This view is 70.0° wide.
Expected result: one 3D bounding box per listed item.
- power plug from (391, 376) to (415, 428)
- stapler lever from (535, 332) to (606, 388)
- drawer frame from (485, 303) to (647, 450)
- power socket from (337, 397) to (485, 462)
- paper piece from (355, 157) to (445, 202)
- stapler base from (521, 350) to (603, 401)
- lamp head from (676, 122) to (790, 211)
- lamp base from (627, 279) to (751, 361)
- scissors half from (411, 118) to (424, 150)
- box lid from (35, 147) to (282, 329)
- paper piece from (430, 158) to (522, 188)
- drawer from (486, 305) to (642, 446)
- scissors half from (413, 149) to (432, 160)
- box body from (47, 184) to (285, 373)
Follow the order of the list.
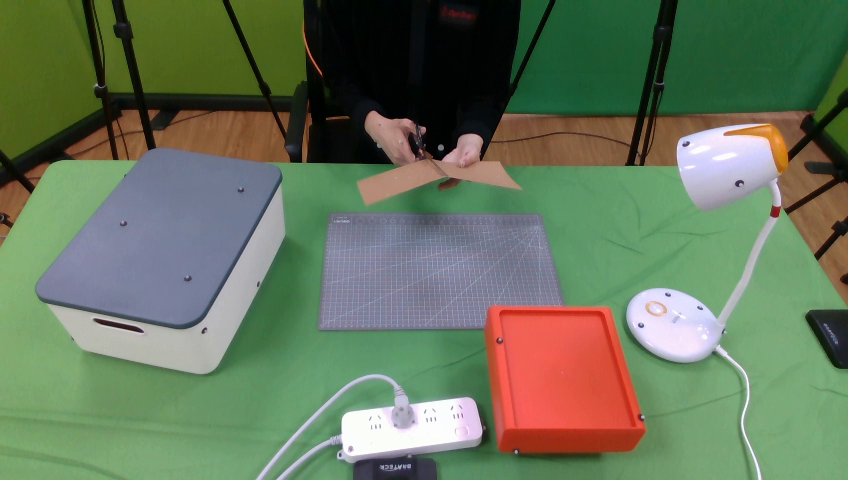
[{"bbox_3d":[-0.031,0.249,0.917,0.035,0.053,0.072,3,46,-1],"label":"power plug"},{"bbox_3d":[0.225,0.182,0.929,0.118,0.040,0.027,27,34,15],"label":"stapler lever"},{"bbox_3d":[0.204,0.202,0.917,0.202,0.083,0.212,1,47,-4],"label":"drawer frame"},{"bbox_3d":[-0.018,0.285,0.915,0.227,0.033,0.071,-4,46,-8],"label":"power socket"},{"bbox_3d":[-0.043,-0.104,1.001,0.135,0.004,0.135,-19,23,-5],"label":"paper piece"},{"bbox_3d":[0.217,0.203,0.942,0.130,0.024,0.041,26,34,16],"label":"stapler base"},{"bbox_3d":[0.423,-0.104,0.819,0.122,0.113,0.112,-13,33,40],"label":"lamp head"},{"bbox_3d":[0.460,0.100,1.027,0.178,0.181,0.160,27,51,17],"label":"lamp base"},{"bbox_3d":[-0.003,-0.171,1.097,0.013,0.040,0.174,-12,44,-7],"label":"scissors half"},{"bbox_3d":[-0.411,-0.023,0.987,0.263,0.015,0.369,10,47,5],"label":"box lid"},{"bbox_3d":[0.085,-0.115,1.026,0.136,0.008,0.137,10,18,-16],"label":"paper piece"},{"bbox_3d":[0.202,0.200,0.919,0.195,0.073,0.210,2,47,-4],"label":"drawer"},{"bbox_3d":[-0.001,-0.148,1.107,0.013,0.040,0.175,-8,4,-9],"label":"scissors half"},{"bbox_3d":[-0.414,0.029,1.040,0.254,0.161,0.362,10,46,5],"label":"box body"}]
